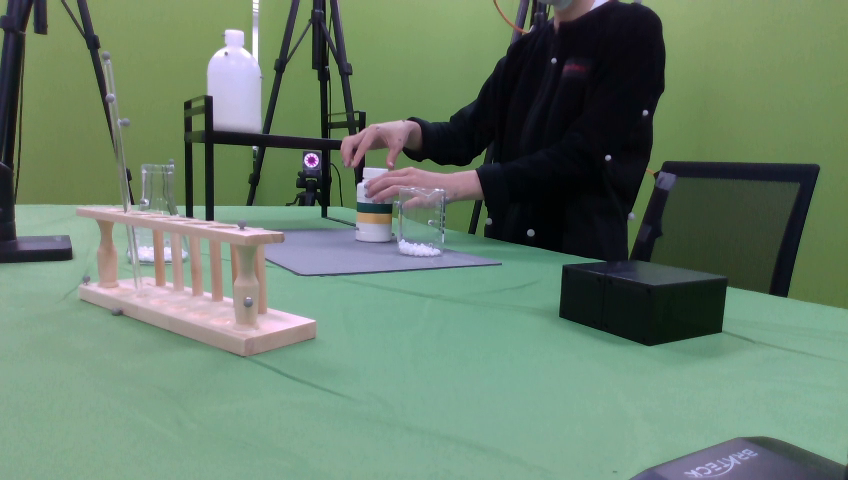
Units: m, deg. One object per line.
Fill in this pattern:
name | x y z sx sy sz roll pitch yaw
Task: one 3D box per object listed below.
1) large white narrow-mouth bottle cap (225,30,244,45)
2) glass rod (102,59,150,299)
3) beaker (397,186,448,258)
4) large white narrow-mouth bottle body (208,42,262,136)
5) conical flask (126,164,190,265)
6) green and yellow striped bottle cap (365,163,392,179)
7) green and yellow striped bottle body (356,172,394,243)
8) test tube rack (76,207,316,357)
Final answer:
large white narrow-mouth bottle cap | -0.365 -0.390 1.166 0.038 0.024 0.037 3 9 0
glass rod | -0.243 -0.045 0.496 0.008 0.199 0.008 -4 13 1
beaker | -0.002 -0.027 0.890 0.074 0.100 0.084 0 8 -11
large white narrow-mouth bottle body | -0.368 -0.304 1.181 0.102 0.194 0.101 2 9 0
conical flask | -0.332 -0.033 0.756 0.075 0.122 0.075 2 7 0
green and yellow striped bottle cap | -0.077 -0.115 1.019 0.045 0.020 0.045 -13 5 2
green and yellow striped bottle body | -0.084 -0.058 1.028 0.063 0.119 0.063 3 8 0
test tube rack | -0.196 0.023 0.500 0.241 0.085 0.067 8 9 36
